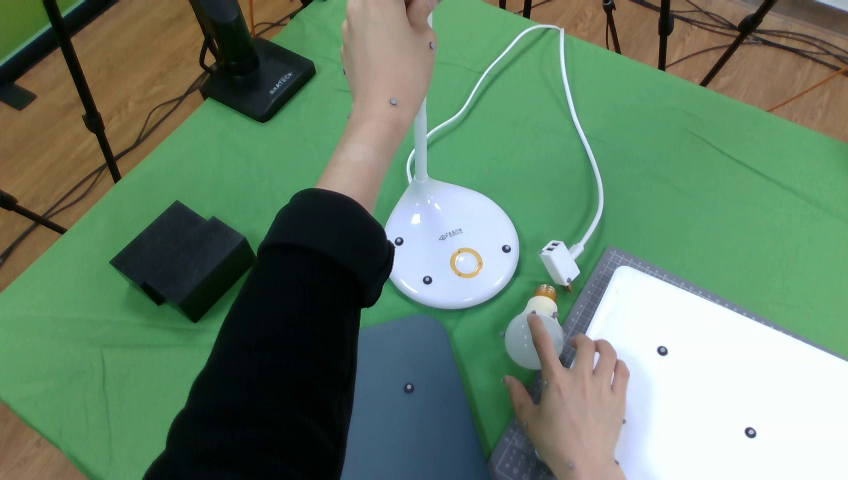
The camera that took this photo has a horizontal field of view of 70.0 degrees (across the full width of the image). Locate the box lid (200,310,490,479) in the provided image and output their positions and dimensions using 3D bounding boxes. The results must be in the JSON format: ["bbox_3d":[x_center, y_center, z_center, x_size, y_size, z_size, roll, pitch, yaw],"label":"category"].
[{"bbox_3d":[-0.065,0.253,0.567,0.263,0.015,0.368,-14,61,-6],"label":"box lid"}]

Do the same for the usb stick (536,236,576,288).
[{"bbox_3d":[0.149,0.026,0.671,0.027,0.059,0.021,-39,23,-24],"label":"usb stick"}]

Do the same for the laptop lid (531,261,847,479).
[{"bbox_3d":[0.308,0.181,0.580,0.355,0.013,0.241,27,66,16],"label":"laptop lid"}]

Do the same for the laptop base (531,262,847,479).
[{"bbox_3d":[0.309,0.185,0.591,0.352,0.023,0.234,25,67,15],"label":"laptop base"}]

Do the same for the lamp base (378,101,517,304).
[{"bbox_3d":[0.017,-0.046,0.640,0.160,0.182,0.177,-32,61,-16],"label":"lamp base"}]

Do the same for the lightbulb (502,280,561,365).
[{"bbox_3d":[0.118,0.083,0.639,0.059,0.060,0.107,15,46,11],"label":"lightbulb"}]
